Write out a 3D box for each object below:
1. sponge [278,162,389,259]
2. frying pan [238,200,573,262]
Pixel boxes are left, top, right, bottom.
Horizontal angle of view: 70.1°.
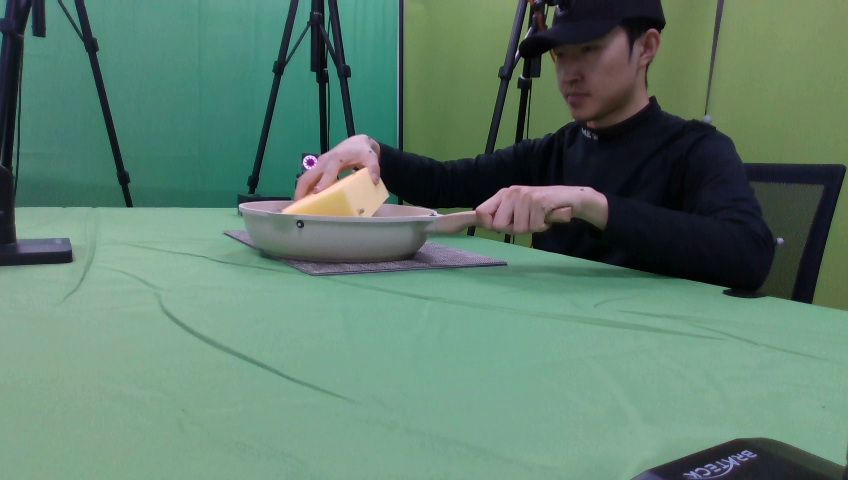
[{"bbox_3d":[-0.133,-0.049,0.892,0.118,0.061,0.207,-23,12,13],"label":"sponge"},{"bbox_3d":[-0.033,-0.026,0.867,0.486,0.102,0.308,-3,5,25],"label":"frying pan"}]
